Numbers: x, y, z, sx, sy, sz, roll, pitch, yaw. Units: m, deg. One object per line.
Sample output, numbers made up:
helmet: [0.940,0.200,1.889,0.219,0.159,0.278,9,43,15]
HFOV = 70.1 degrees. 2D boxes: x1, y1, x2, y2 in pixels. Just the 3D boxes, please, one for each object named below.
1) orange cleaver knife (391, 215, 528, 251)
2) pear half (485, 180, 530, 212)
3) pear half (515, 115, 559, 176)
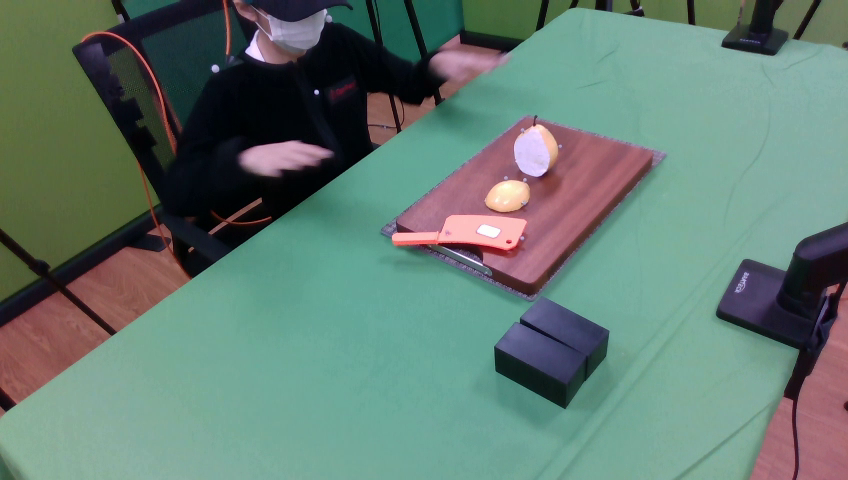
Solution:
orange cleaver knife: [0.055,-0.013,0.943,0.211,0.012,0.077,0,45,14]
pear half: [0.142,-0.081,1.001,0.088,0.031,0.070,-38,55,-27]
pear half: [0.196,-0.169,1.033,0.076,0.110,0.056,22,49,26]
